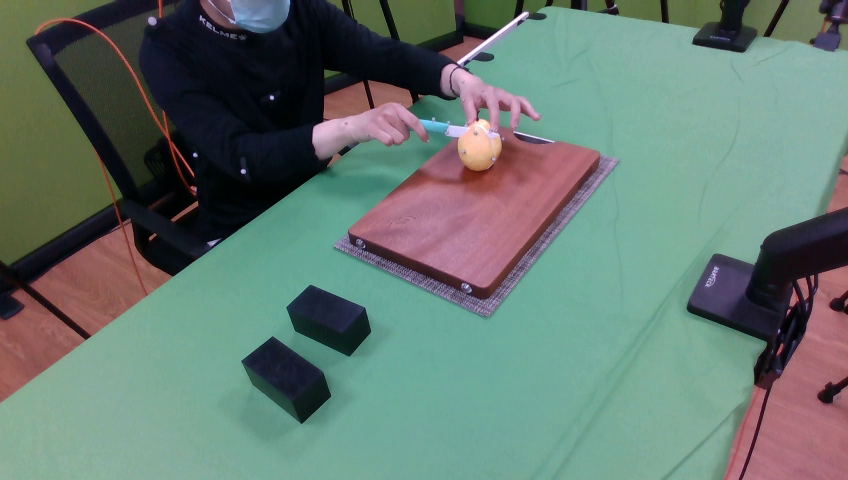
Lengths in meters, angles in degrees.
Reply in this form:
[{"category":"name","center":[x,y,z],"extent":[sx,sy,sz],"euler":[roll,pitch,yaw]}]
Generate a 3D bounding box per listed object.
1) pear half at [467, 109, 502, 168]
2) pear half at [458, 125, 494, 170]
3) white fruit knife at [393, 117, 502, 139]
[{"category":"pear half","center":[0.102,-0.186,1.058],"extent":[0.076,0.110,0.056],"euler":[16,46,18]},{"category":"pear half","center":[0.086,-0.154,1.040],"extent":[0.070,0.088,0.031],"euler":[17,51,16]},{"category":"white fruit knife","center":[0.037,-0.195,1.053],"extent":[0.206,0.027,0.016],"euler":[11,45,22]}]
